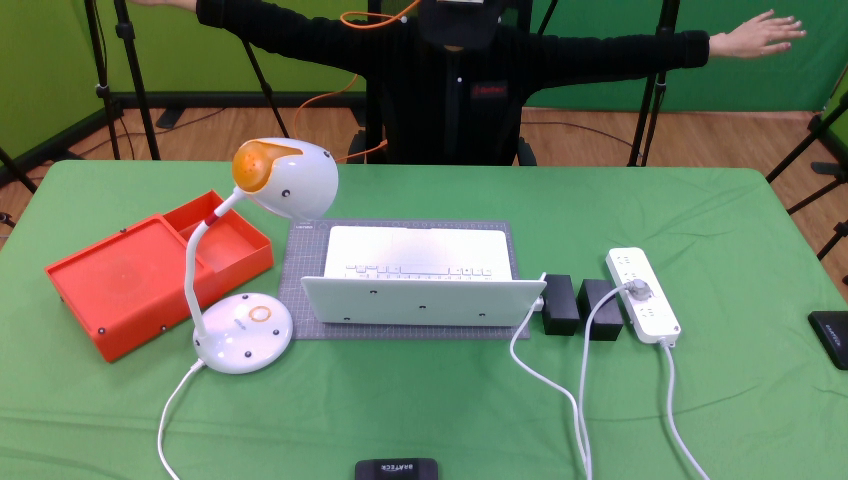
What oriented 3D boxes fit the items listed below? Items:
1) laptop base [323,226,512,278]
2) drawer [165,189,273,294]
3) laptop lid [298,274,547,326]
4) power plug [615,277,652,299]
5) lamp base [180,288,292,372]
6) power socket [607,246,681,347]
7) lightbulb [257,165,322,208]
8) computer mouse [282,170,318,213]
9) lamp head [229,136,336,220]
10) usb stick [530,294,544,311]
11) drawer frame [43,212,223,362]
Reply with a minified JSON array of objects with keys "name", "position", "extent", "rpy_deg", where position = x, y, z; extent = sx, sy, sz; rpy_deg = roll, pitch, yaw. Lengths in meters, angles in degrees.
[{"name":"laptop base","position":[-0.011,0.063,1.137],"extent":[0.354,0.023,0.234],"rpy_deg":[1,42,-3]},{"name":"drawer","position":[-0.419,0.022,1.109],"extent":[0.193,0.073,0.211],"rpy_deg":[37,55,27]},{"name":"laptop lid","position":[-0.004,0.099,0.947],"extent":[0.357,0.242,0.013],"rpy_deg":[2,67,-4]},{"name":"power plug","position":[0.375,0.088,1.097],"extent":[0.072,0.053,0.035],"rpy_deg":[5,46,2]},{"name":"lamp base","position":[-0.309,0.107,0.959],"extent":[0.160,0.181,0.179],"rpy_deg":[29,55,22]},{"name":"power socket","position":[0.403,0.096,1.123],"extent":[0.072,0.033,0.225],"rpy_deg":[-3,47,-5]},{"name":"lightbulb","position":[-0.181,-0.075,0.809],"extent":[0.059,0.059,0.108],"rpy_deg":[34,12,26]},{"name":"computer mouse","position":[-0.259,-0.106,1.272],"extent":[0.063,0.041,0.116],"rpy_deg":[3,49,-3]},{"name":"lamp head","position":[-0.196,-0.085,0.791],"extent":[0.112,0.112,0.123],"rpy_deg":[36,15,27]},{"name":"usb stick","position":[0.183,0.111,1.086],"extent":[0.059,0.027,0.021],"rpy_deg":[1,44,-3]},{"name":"drawer frame","position":[-0.497,0.073,1.049],"extent":[0.213,0.083,0.200],"rpy_deg":[-34,57,-31]}]
